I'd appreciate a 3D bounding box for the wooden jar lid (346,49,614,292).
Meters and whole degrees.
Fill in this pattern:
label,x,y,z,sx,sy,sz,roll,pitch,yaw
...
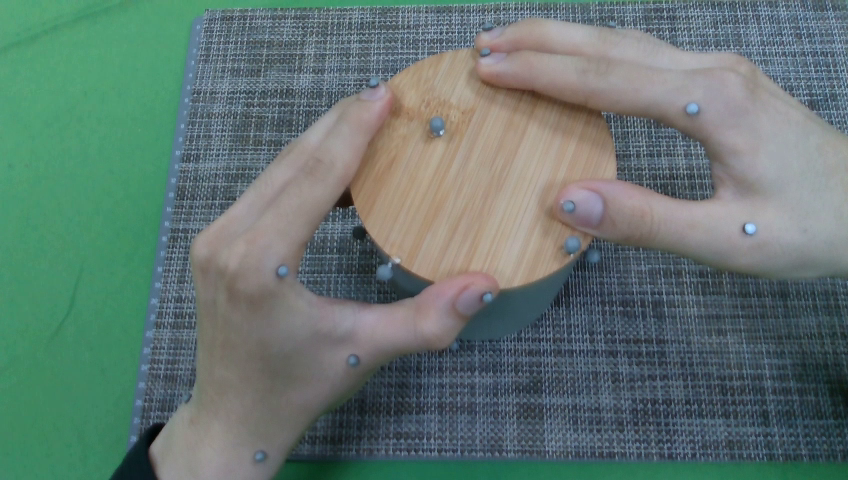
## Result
label,x,y,z,sx,sy,sz,roll,pitch,yaw
wooden jar lid,0.022,-0.029,0.252,0.108,0.021,0.107,0,73,2

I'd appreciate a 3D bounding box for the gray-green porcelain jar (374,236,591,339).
label,x,y,z,sx,sy,sz,roll,pitch,yaw
gray-green porcelain jar,0.027,-0.008,0.310,0.106,0.127,0.105,-1,71,2
